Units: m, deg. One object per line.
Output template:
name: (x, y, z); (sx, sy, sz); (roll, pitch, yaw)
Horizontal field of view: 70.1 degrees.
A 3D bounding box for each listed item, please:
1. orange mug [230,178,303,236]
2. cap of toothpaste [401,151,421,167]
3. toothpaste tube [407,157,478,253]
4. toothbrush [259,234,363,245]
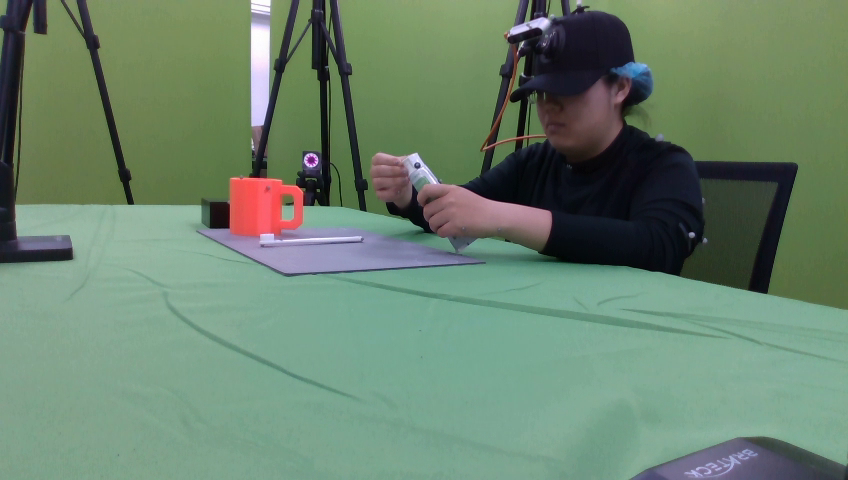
orange mug: (-0.275, -0.060, 1.058); (0.126, 0.101, 0.083); (-2, 8, -5)
cap of toothpaste: (-0.019, -0.127, 0.954); (0.037, 0.011, 0.037); (-31, -2, -1)
toothpaste tube: (0.025, -0.061, 0.944); (0.035, 0.165, 0.055); (-28, -7, -43)
toothbrush: (-0.175, -0.002, 0.958); (0.183, 0.016, 0.014); (-1, -4, -39)
